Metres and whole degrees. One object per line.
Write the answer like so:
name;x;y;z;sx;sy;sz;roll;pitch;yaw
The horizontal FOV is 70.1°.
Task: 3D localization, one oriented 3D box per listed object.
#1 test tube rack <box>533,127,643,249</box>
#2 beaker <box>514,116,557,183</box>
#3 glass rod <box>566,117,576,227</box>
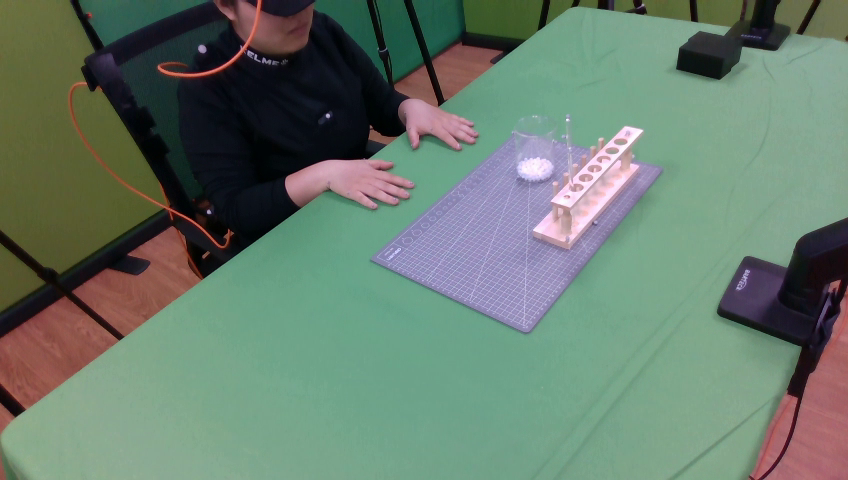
test tube rack;0.271;-0.094;0.990;0.066;0.085;0.243;23;50;33
beaker;0.199;-0.161;1.072;0.073;0.101;0.084;8;42;19
glass rod;0.218;-0.094;0.895;0.008;0.201;0.008;-9;41;8
